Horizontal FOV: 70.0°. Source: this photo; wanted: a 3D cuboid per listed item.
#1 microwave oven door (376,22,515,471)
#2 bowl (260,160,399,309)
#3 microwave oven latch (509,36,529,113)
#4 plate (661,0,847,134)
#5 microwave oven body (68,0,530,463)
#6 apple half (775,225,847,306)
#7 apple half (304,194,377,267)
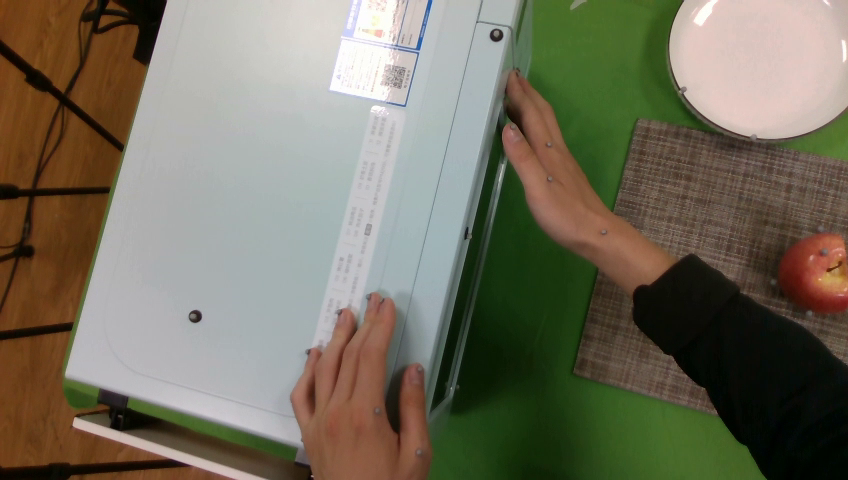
[{"bbox_3d":[0.030,0.013,0.577,0.039,0.245,0.355,12,86,11],"label":"microwave oven door"},{"bbox_3d":[-0.088,-0.006,0.643,0.151,0.077,0.151,1,92,17],"label":"bowl"},{"bbox_3d":[0.100,-0.187,0.689,0.030,0.029,0.079,13,87,10],"label":"microwave oven latch"},{"bbox_3d":[0.368,-0.215,0.667,0.207,0.039,0.207,-1,85,9],"label":"plate"},{"bbox_3d":[-0.099,-0.058,0.610,0.325,0.261,0.441,13,87,10],"label":"microwave oven body"},{"bbox_3d":[0.389,0.027,0.618,0.053,0.075,0.080,-6,87,14],"label":"apple half"},{"bbox_3d":[-0.089,-0.007,0.633,0.081,0.032,0.081,0,98,4],"label":"apple half"}]
